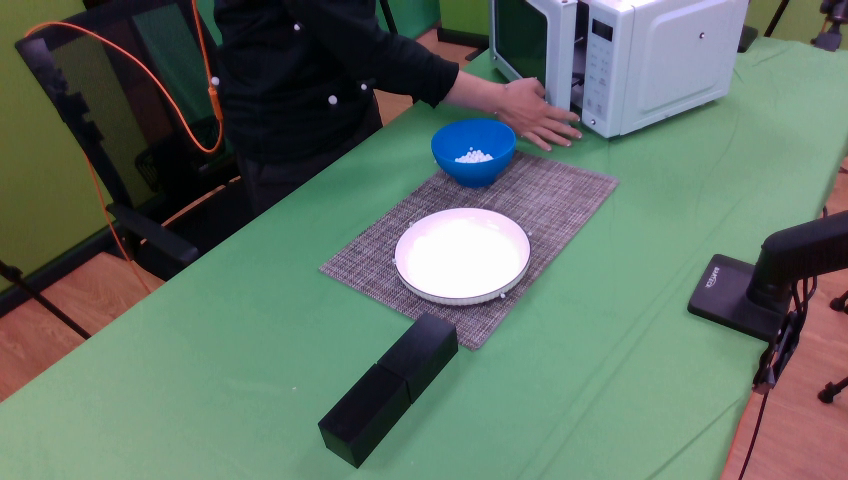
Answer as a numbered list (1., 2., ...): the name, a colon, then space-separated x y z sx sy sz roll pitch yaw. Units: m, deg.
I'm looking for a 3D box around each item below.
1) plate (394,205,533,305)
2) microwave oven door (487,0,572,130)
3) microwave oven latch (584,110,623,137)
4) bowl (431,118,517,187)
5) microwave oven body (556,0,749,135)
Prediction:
1. plate: 0.059 0.025 0.915 0.207 0.039 0.206 -4 41 4
2. microwave oven door: 0.206 -0.411 1.225 0.039 0.245 0.353 -15 41 -9
3. microwave oven latch: 0.337 -0.222 1.142 0.030 0.029 0.078 -21 42 -14
4. bowl: 0.090 -0.147 1.080 0.151 0.077 0.150 -4 41 4
5. microwave oven body: 0.382 -0.444 1.246 0.327 0.261 0.437 -22 42 -16
